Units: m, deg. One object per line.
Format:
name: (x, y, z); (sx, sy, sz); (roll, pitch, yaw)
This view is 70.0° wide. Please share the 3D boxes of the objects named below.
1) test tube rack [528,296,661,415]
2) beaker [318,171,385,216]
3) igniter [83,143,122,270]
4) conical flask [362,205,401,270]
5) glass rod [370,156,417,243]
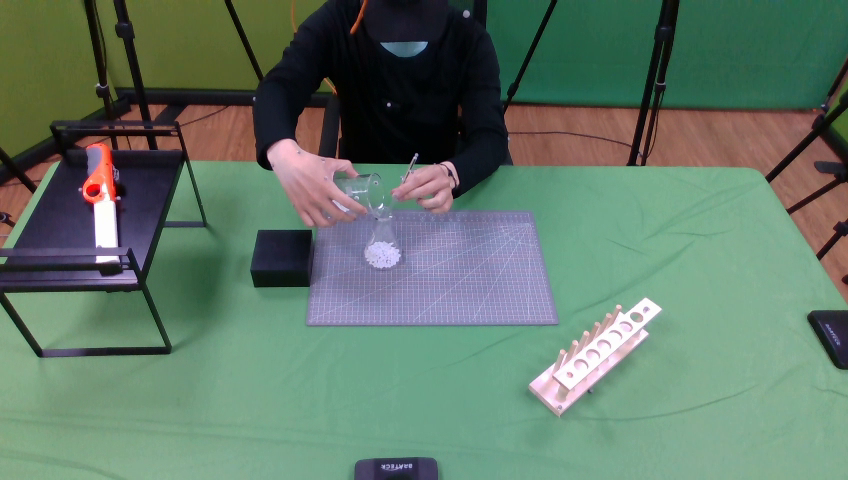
test tube rack: (0.285, 0.178, 1.005); (0.242, 0.085, 0.066); (-31, 55, -29)
beaker: (-0.128, -0.078, 1.073); (0.100, 0.084, 0.073); (-1, 33, 21)
igniter: (-0.508, -0.063, 0.962); (0.057, 0.025, 0.274); (-14, 53, -18)
conical flask: (-0.078, -0.008, 1.127); (0.075, 0.122, 0.075); (2, 46, -2)
glass rod: (-0.056, -0.069, 1.080); (0.008, 0.200, 0.008); (21, 33, -14)
